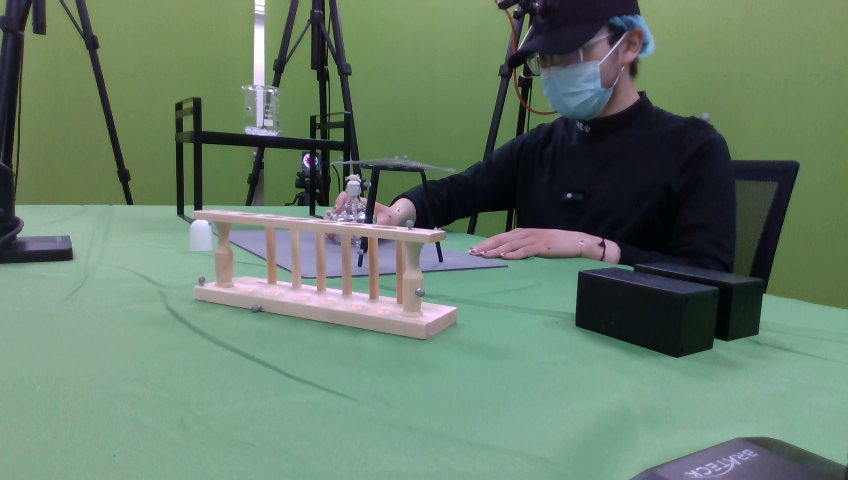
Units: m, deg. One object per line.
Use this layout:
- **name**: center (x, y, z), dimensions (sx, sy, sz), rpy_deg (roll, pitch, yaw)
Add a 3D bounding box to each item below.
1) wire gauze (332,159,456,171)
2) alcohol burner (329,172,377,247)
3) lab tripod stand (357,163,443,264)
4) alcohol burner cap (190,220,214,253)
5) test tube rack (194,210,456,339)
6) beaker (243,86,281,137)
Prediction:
- **wire gauze**: center (-0.042, -0.104, 0.819), dimensions (0.126, 0.011, 0.121), rpy_deg (-3, 9, -44)
- **alcohol burner**: center (-0.114, -0.049, 0.971), dimensions (0.078, 0.119, 0.078), rpy_deg (0, 9, 0)
- **lab tripod stand**: center (-0.044, -0.038, 0.830), dimensions (0.148, 0.131, 0.148), rpy_deg (4, 6, 0)
- **alcohol burner cap**: center (-0.322, -0.006, 0.875), dimensions (0.034, 0.048, 0.034), rpy_deg (3, 8, 0)
- **test tube rack**: center (-0.093, 0.023, 0.546), dimensions (0.241, 0.085, 0.067), rpy_deg (6, 8, 25)
- **beaker**: center (-0.338, -0.265, 1.253), dimensions (0.073, 0.100, 0.084), rpy_deg (8, 9, 38)
